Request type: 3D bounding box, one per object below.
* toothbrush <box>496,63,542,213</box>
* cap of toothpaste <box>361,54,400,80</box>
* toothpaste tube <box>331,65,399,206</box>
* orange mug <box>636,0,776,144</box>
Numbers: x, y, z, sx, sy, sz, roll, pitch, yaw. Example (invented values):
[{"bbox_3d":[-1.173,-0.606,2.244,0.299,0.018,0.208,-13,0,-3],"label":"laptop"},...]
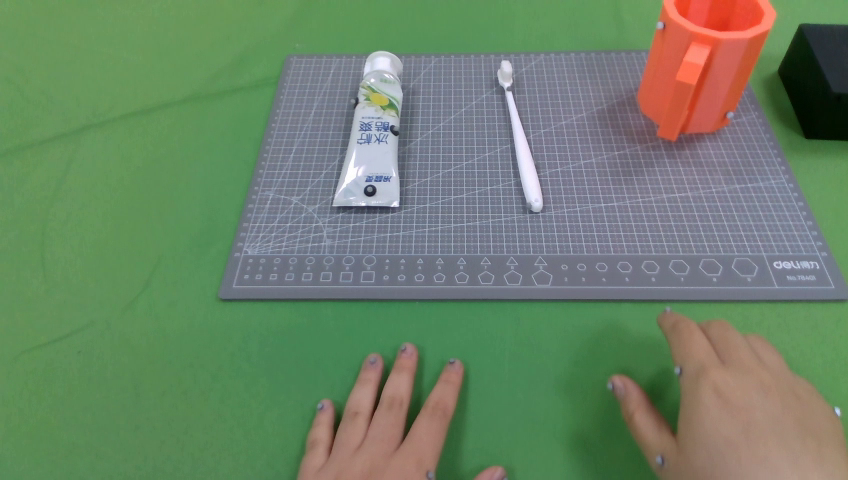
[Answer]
[{"bbox_3d":[0.083,-0.095,0.530,0.014,0.017,0.180,3,52,-11],"label":"toothbrush"},{"bbox_3d":[-0.041,-0.159,0.571,0.037,0.037,0.011,3,58,5],"label":"cap of toothpaste"},{"bbox_3d":[-0.046,-0.095,0.528,0.055,0.035,0.163,-3,55,6],"label":"toothpaste tube"},{"bbox_3d":[0.228,-0.142,0.510,0.083,0.102,0.126,23,51,20],"label":"orange mug"}]
